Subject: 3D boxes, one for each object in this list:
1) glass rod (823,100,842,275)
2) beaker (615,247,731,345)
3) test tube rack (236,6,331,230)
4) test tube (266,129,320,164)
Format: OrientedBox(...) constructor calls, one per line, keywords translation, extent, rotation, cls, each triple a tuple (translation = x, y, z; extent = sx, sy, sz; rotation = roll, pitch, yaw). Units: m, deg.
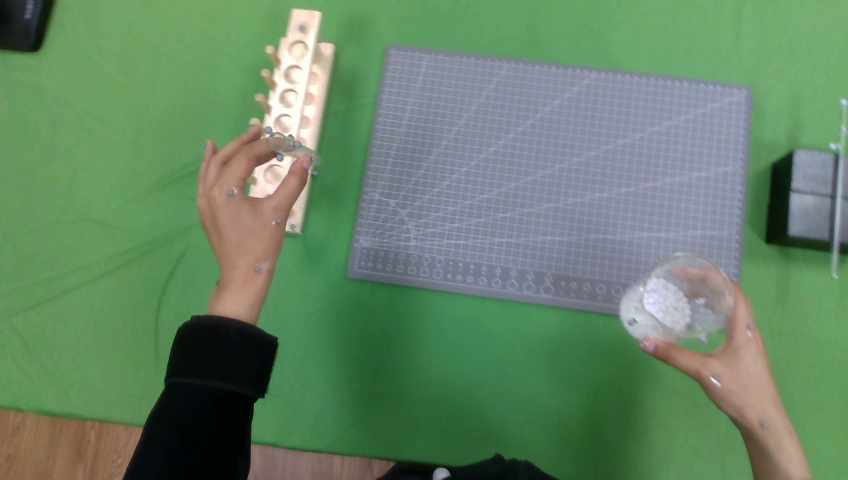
OrientedBox(translation=(0.445, -0.059, 0.659), extent=(0.008, 0.008, 0.199), rotation=(10, 81, 4), cls="glass rod")
OrientedBox(translation=(0.220, 0.057, 0.559), extent=(0.084, 0.101, 0.073), rotation=(-14, 73, -2), cls="beaker")
OrientedBox(translation=(-0.169, -0.140, 0.706), extent=(0.067, 0.085, 0.241), rotation=(8, 80, 4), cls="test tube rack")
OrientedBox(translation=(-0.117, -0.084, 0.557), extent=(0.017, 0.150, 0.017), rotation=(0, 92, 2), cls="test tube")
